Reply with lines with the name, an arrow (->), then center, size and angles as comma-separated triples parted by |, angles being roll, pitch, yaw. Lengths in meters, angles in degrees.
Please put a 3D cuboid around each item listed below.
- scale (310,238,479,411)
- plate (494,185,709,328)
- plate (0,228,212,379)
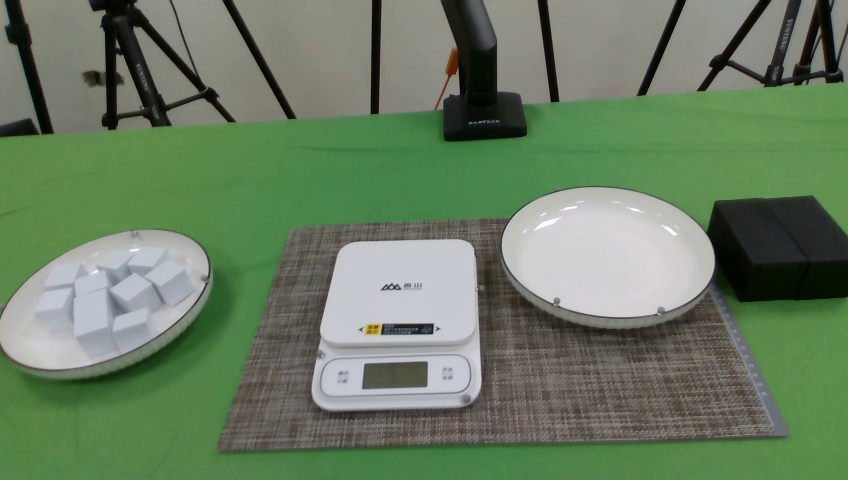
scale -> -0.024, 0.072, 0.582 | 0.148, 0.032, 0.199 | -2, 40, 5
plate -> 0.177, 0.017, 0.620 | 0.207, 0.039, 0.205 | -3, 39, 3
plate -> -0.323, 0.065, 0.628 | 0.209, 0.038, 0.207 | -3, 39, 3
